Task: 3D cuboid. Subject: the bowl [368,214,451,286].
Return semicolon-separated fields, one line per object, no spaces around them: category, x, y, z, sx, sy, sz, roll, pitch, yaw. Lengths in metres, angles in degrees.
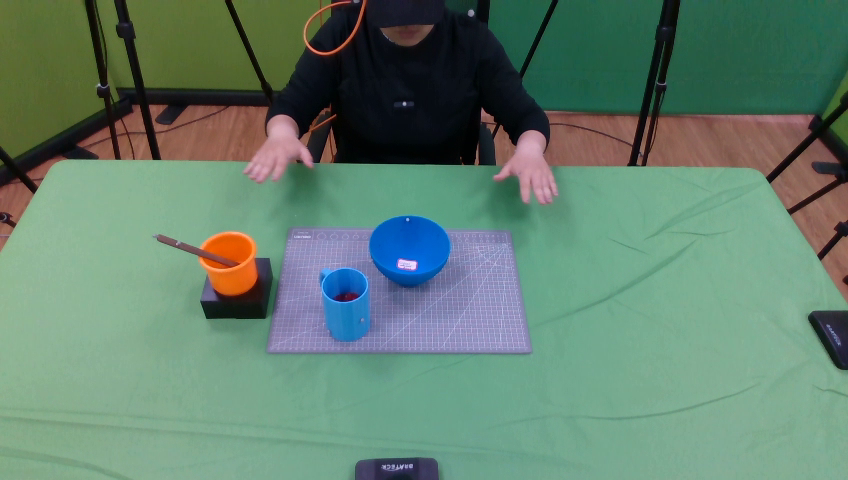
bowl;-0.028;0.031;1.122;0.151;0.077;0.150;2;46;-2

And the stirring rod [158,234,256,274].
stirring rod;-0.354;0.025;0.999;0.177;0.006;0.014;27;29;-40

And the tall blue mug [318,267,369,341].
tall blue mug;-0.146;0.104;1.022;0.107;0.108;0.077;19;49;14
